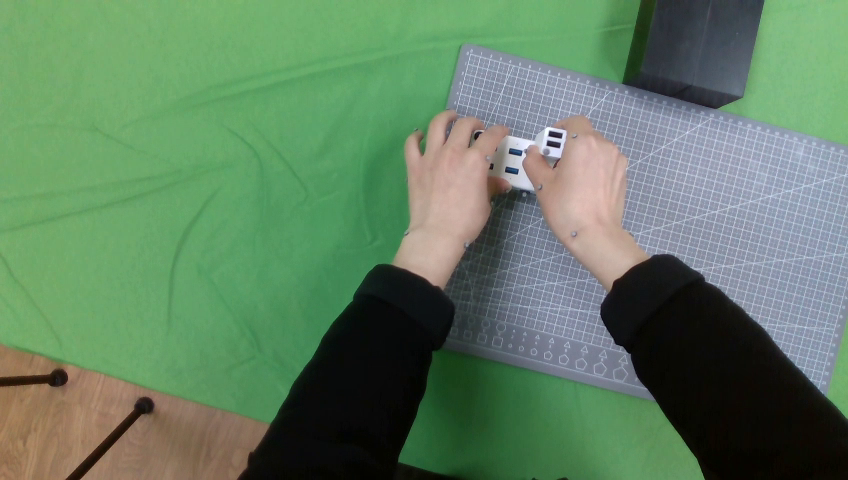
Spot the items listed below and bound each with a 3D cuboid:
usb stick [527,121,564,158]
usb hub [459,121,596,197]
[{"bbox_3d":[0.110,-0.092,0.560,0.021,0.059,0.027,11,88,-3],"label":"usb stick"},{"bbox_3d":[0.100,-0.079,0.592,0.125,0.025,0.049,12,92,-3],"label":"usb hub"}]
